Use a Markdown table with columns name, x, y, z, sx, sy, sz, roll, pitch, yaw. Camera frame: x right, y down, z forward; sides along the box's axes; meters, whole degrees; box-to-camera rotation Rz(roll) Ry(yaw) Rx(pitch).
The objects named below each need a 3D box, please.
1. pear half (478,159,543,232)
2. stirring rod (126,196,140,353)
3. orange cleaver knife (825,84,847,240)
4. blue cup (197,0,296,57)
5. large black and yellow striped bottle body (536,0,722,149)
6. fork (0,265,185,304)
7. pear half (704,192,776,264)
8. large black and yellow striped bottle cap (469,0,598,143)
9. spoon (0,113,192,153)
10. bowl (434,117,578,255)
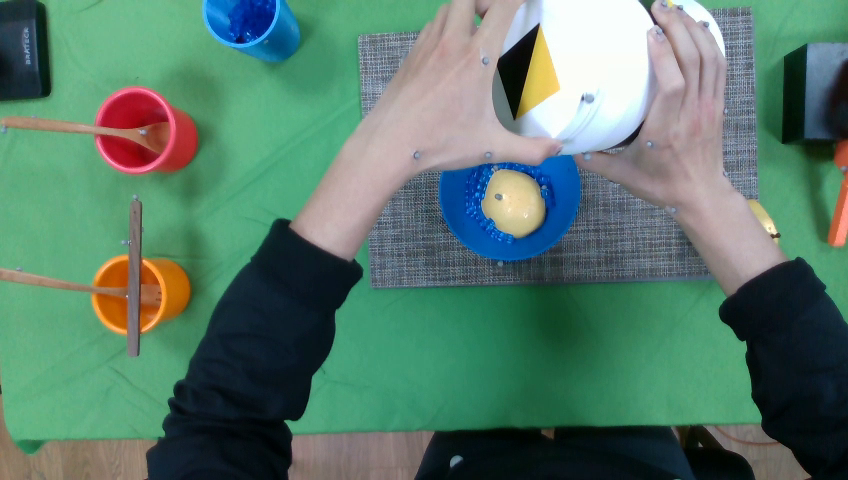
| name | x | y | z | sx | sy | sz | roll | pitch | yaw |
| --- | --- | --- | --- | --- | --- | --- | --- | --- | --- |
| pear half | 0.093 | -0.052 | 0.667 | 0.070 | 0.031 | 0.088 | -29 | 86 | 3 |
| stirring rod | -0.326 | 0.039 | 0.678 | 0.014 | 0.006 | 0.176 | 2 | 93 | 4 |
| orange cleaver knife | 0.450 | -0.102 | 0.642 | 0.012 | 0.076 | 0.213 | 0 | 121 | 10 |
| blue cup | -0.190 | -0.249 | 0.680 | 0.092 | 0.100 | 0.092 | 0 | 92 | 7 |
| large black and yellow striped bottle body | 0.145 | -0.146 | 0.507 | 0.185 | 0.130 | 0.130 | -13 | 91 | -36 |
| fork | -0.378 | 0.049 | 0.685 | 0.209 | 0.018 | 0.028 | 14 | 105 | -39 |
| pear half | 0.333 | -0.010 | 0.639 | 0.056 | 0.110 | 0.076 | -22 | 86 | 6 |
| large black and yellow striped bottle cap | 0.078 | -0.131 | 0.457 | 0.019 | 0.114 | 0.115 | -15 | 91 | -37 |
| spoon | -0.364 | -0.127 | 0.680 | 0.195 | 0.021 | 0.041 | 1 | 95 | -38 |
| bowl | 0.089 | -0.059 | 0.673 | 0.151 | 0.077 | 0.151 | 0 | 92 | 5 |
